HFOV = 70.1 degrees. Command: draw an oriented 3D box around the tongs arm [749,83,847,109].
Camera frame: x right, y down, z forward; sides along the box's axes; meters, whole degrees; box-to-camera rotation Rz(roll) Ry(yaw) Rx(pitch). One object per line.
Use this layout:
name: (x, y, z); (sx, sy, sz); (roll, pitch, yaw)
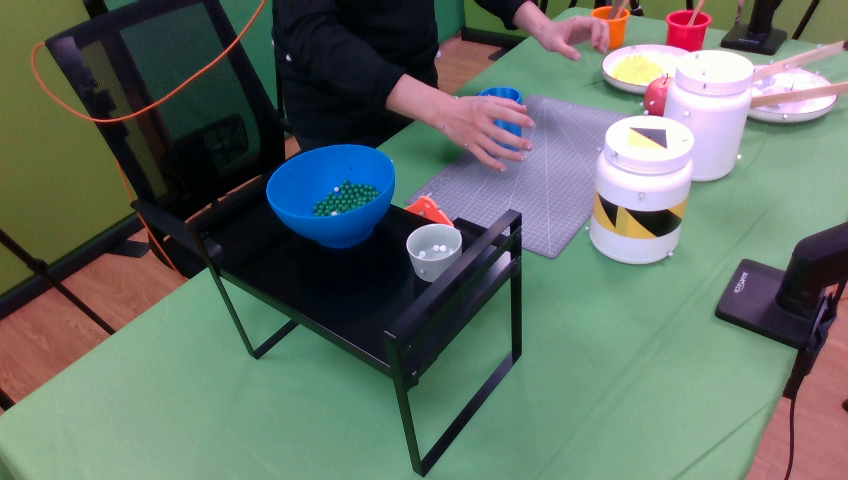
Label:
tongs arm: (0.734, -0.280, 1.133); (0.388, 0.028, 0.028); (-9, 47, -5)

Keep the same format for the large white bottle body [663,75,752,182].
large white bottle body: (0.472, -0.207, 1.022); (0.130, 0.185, 0.130); (-4, 41, 4)

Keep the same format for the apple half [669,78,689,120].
apple half: (0.498, -0.273, 1.180); (0.032, 0.082, 0.081); (7, 42, 25)

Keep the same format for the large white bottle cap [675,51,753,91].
large white bottle cap: (0.463, -0.271, 0.967); (0.115, 0.018, 0.114); (-4, 40, 3)

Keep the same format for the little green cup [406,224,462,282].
little green cup: (0.013, 0.015, 0.668); (0.061, 0.039, 0.061); (-4, 40, 4)

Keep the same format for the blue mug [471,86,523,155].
blue mug: (0.135, -0.235, 1.163); (0.082, 0.106, 0.115); (-36, 48, -28)

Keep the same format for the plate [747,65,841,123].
plate: (0.694, -0.282, 1.189); (0.207, 0.039, 0.206); (-4, 40, 4)

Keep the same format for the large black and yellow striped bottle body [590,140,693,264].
large black and yellow striped bottle body: (0.317, -0.071, 0.889); (0.131, 0.185, 0.130); (-4, 41, 4)

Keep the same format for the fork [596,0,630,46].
fork: (0.481, -0.556, 1.452); (0.028, 0.019, 0.207); (40, 103, 40)

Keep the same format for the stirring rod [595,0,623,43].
stirring rod: (0.460, -0.556, 1.460); (0.014, 0.006, 0.176); (30, 93, 23)

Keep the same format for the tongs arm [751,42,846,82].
tongs arm: (0.708, -0.331, 1.193); (0.386, 0.026, 0.050); (-18, 45, -16)

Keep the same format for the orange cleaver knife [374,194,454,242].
orange cleaver knife: (-0.032, -0.026, 0.965); (0.210, 0.077, 0.012); (-9, 29, 51)

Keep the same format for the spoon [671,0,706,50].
spoon: (0.628, -0.520, 1.394); (0.041, 0.022, 0.193); (30, 97, 34)

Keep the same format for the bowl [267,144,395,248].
bowl: (-0.104, -0.043, 0.726); (0.151, 0.077, 0.150); (-4, 40, 4)

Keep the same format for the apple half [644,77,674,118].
apple half: (0.463, -0.279, 1.194); (0.053, 0.075, 0.081); (8, 46, 25)

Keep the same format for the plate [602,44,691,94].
plate: (0.495, -0.367, 1.317); (0.209, 0.038, 0.208); (-4, 40, 4)

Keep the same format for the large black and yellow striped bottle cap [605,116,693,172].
large black and yellow striped bottle cap: (0.309, -0.134, 0.833); (0.115, 0.019, 0.114); (-5, 40, 5)
